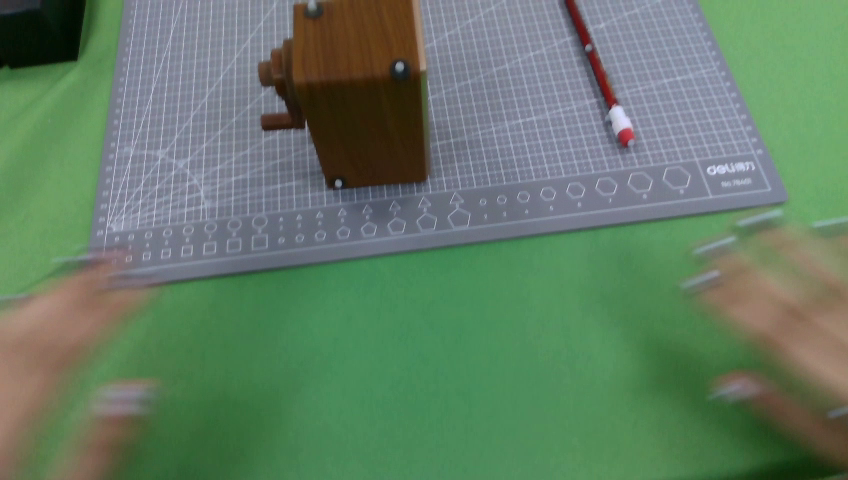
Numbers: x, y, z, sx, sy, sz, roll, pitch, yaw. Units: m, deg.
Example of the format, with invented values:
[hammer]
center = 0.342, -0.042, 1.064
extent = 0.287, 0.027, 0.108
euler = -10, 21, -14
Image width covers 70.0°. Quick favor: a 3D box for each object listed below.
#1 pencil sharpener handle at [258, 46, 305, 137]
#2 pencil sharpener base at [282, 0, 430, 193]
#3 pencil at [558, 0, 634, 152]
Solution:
[pencil sharpener handle]
center = -0.089, -0.083, 0.358
extent = 0.030, 0.068, 0.035
euler = -6, 65, -1
[pencil sharpener base]
center = -0.038, -0.082, 0.370
extent = 0.077, 0.108, 0.061
euler = -6, 62, -1
[pencil]
center = 0.121, -0.143, 0.454
extent = 0.012, 0.012, 0.192
euler = -9, 61, -4
